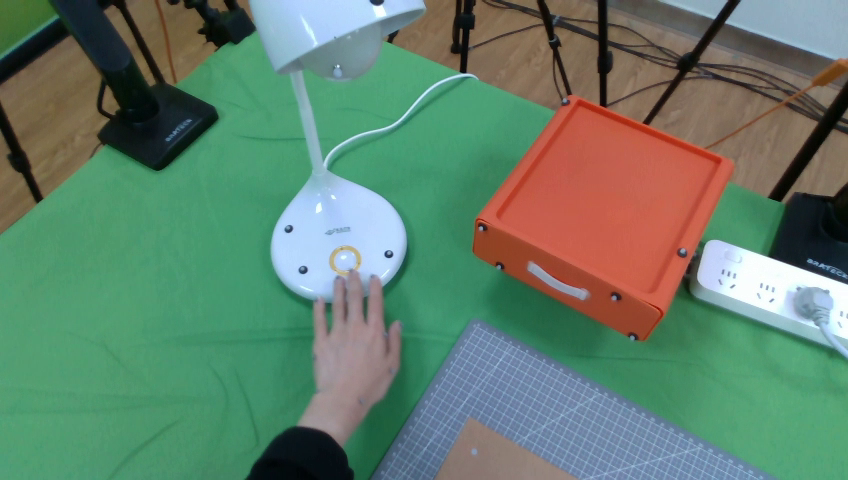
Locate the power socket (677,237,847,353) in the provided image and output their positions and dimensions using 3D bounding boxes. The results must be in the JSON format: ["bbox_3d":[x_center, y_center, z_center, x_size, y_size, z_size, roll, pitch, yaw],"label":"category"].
[{"bbox_3d":[0.400,0.062,0.672,0.226,0.033,0.072,21,61,13],"label":"power socket"}]

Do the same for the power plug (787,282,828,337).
[{"bbox_3d":[0.396,0.075,0.636,0.035,0.053,0.072,31,63,18],"label":"power plug"}]

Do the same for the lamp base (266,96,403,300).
[{"bbox_3d":[-0.112,-0.052,0.657,0.161,0.182,0.177,-21,57,-13],"label":"lamp base"}]

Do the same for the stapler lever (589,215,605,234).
[{"bbox_3d":[0.153,-0.032,0.642,0.027,0.040,0.117,-32,57,0],"label":"stapler lever"}]

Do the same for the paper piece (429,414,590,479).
[{"bbox_3d":[0.067,0.251,0.564,0.135,0.009,0.137,25,62,19],"label":"paper piece"}]

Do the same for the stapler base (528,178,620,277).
[{"bbox_3d":[0.163,-0.019,0.664,0.041,0.025,0.129,-32,59,0],"label":"stapler base"}]

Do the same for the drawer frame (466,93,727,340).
[{"bbox_3d":[0.184,-0.034,0.652,0.200,0.083,0.213,27,61,17],"label":"drawer frame"}]

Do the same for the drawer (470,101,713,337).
[{"bbox_3d":[0.184,-0.031,0.651,0.193,0.074,0.211,28,61,18],"label":"drawer"}]

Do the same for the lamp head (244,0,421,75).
[{"bbox_3d":[-0.075,-0.184,0.398,0.112,0.112,0.123,-28,100,-17],"label":"lamp head"}]
